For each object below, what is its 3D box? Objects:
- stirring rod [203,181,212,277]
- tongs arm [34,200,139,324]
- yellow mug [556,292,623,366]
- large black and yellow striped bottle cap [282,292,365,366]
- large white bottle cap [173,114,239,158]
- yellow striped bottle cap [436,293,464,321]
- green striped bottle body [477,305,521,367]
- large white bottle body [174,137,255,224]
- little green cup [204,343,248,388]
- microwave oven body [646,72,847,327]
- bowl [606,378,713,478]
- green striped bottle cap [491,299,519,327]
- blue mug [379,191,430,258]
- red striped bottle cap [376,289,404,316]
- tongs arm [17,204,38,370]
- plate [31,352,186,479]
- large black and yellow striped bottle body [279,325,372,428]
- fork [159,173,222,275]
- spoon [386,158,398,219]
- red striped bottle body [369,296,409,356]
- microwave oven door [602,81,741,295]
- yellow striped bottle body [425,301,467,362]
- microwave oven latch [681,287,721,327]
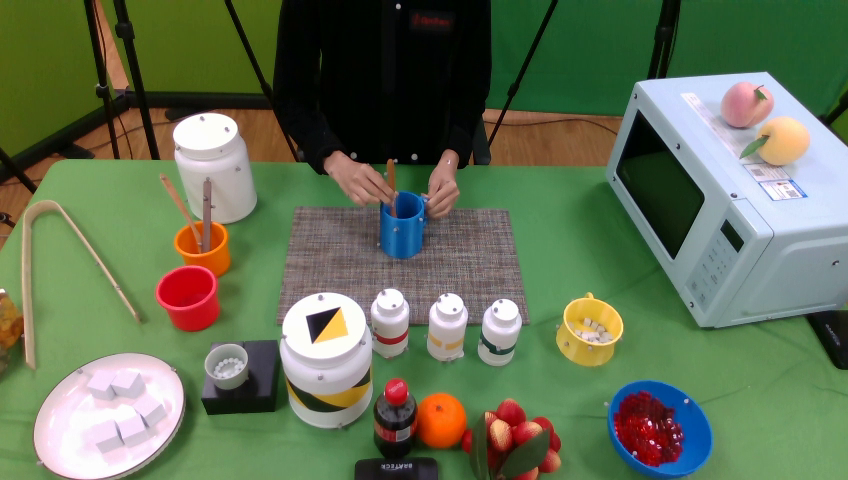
[{"bbox_3d":[-0.396,-0.021,1.108,0.014,0.006,0.176,-1,89,-1],"label":"stirring rod"},{"bbox_3d":[-0.622,0.034,1.105,0.051,0.026,0.382,-32,56,-26],"label":"tongs arm"},{"bbox_3d":[0.285,0.145,1.051,0.100,0.064,0.130,7,45,3],"label":"yellow mug"},{"bbox_3d":[-0.138,0.121,0.841,0.115,0.019,0.114,3,47,-3],"label":"large black and yellow striped bottle cap"},{"bbox_3d":[-0.403,-0.195,1.122,0.115,0.018,0.114,2,47,-2],"label":"large white bottle cap"},{"bbox_3d":[0.041,0.106,0.959,0.044,0.019,0.044,-1,50,1],"label":"yellow striped bottle cap"},{"bbox_3d":[0.124,0.151,0.995,0.063,0.120,0.063,2,46,-2],"label":"green striped bottle body"},{"bbox_3d":[-0.408,-0.136,1.183,0.131,0.185,0.130,2,46,-2],"label":"large white bottle body"},{"bbox_3d":[-0.294,0.190,0.909,0.061,0.039,0.061,1,48,-1],"label":"little green cup"},{"bbox_3d":[0.607,-0.089,1.164,0.326,0.261,0.438,-7,46,-10],"label":"microwave oven body"},{"bbox_3d":[0.340,0.292,0.906,0.151,0.077,0.150,2,46,-2],"label":"bowl"},{"bbox_3d":[0.128,0.115,0.958,0.044,0.020,0.044,0,47,0],"label":"green striped bottle cap"},{"bbox_3d":[-0.033,-0.036,1.168,0.116,0.106,0.082,-31,56,-29],"label":"blue mug"},{"bbox_3d":[-0.054,0.098,0.958,0.044,0.018,0.044,0,48,0],"label":"red striped bottle cap"},{"bbox_3d":[-0.698,0.069,1.068,0.028,0.028,0.385,-20,50,-13],"label":"tongs arm"},{"bbox_3d":[-0.459,0.262,0.898,0.209,0.038,0.208,2,45,-2],"label":"plate"},{"bbox_3d":[-0.143,0.181,0.900,0.131,0.185,0.130,2,46,-2],"label":"large black and yellow striped bottle body"},{"bbox_3d":[-0.427,-0.029,1.103,0.028,0.018,0.207,-31,99,-30],"label":"fork"},{"bbox_3d":[-0.060,-0.071,1.115,0.041,0.195,0.021,8,39,11],"label":"spoon"},{"bbox_3d":[-0.058,0.134,0.997,0.063,0.120,0.062,4,47,-4],"label":"red striped bottle body"},{"bbox_3d":[0.456,-0.107,1.162,0.039,0.245,0.353,-7,47,-11],"label":"microwave oven door"},{"bbox_3d":[0.037,0.142,0.996,0.063,0.121,0.062,3,46,-2],"label":"yellow striped bottle body"},{"bbox_3d":[0.494,0.119,1.087,0.030,0.029,0.078,-6,46,-9],"label":"microwave oven latch"}]
